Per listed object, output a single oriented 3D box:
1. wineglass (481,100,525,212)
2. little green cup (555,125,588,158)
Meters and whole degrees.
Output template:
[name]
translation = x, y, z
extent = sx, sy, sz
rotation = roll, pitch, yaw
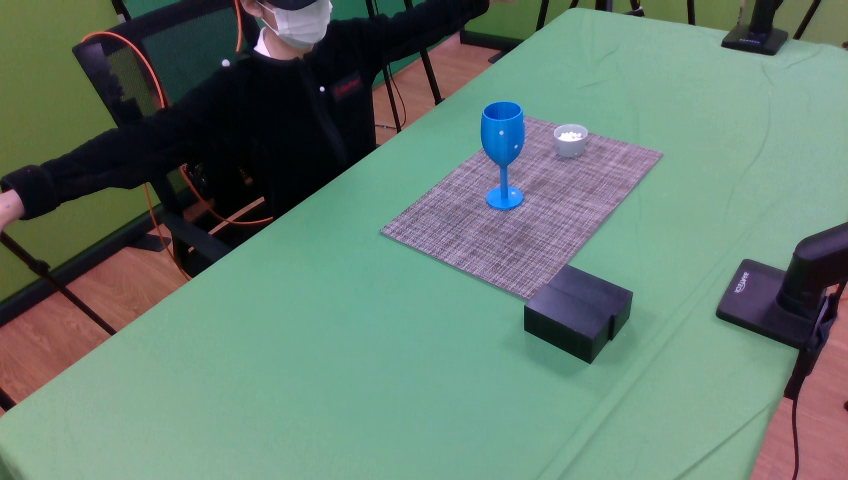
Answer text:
[wineglass]
translation = 0.131, -0.136, 0.992
extent = 0.074, 0.173, 0.073
rotation = -5, 40, 4
[little green cup]
translation = 0.274, -0.184, 1.130
extent = 0.061, 0.039, 0.061
rotation = -4, 41, 4
